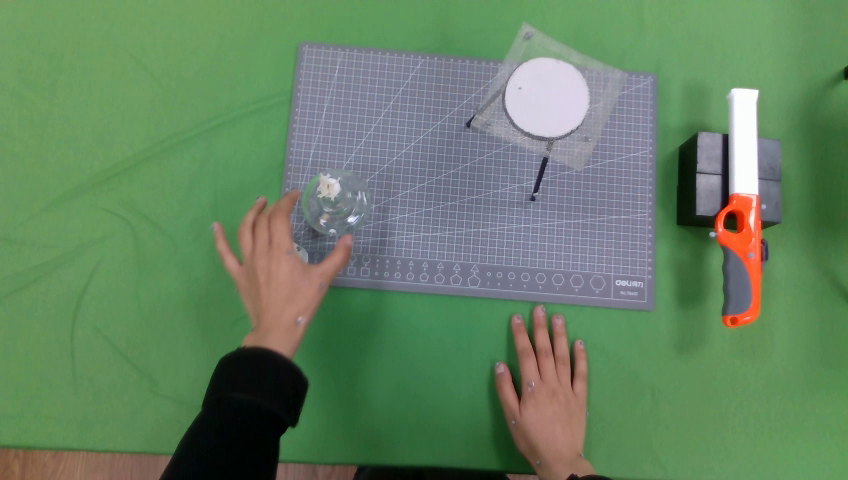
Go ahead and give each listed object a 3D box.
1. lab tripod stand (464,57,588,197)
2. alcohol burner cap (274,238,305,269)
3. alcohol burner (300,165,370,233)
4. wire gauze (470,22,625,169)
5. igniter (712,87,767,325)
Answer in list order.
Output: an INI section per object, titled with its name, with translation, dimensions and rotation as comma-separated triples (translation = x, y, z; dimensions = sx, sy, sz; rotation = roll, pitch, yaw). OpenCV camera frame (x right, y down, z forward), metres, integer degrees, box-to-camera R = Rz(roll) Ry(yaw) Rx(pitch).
[lab tripod stand]
translation = 0.122, -0.137, 0.678
dimensions = 0.148, 0.132, 0.147
rotation = 1, 78, -2
[alcohol burner cap]
translation = -0.154, 0.013, 0.684
dimensions = 0.034, 0.048, 0.033
rotation = 1, 78, -4
[alcohol burner]
translation = -0.099, -0.048, 0.662
dimensions = 0.078, 0.119, 0.077
rotation = 1, 81, -3
[wire gauze]
translation = 0.127, -0.146, 0.611
dimensions = 0.121, 0.011, 0.125
rotation = 27, 79, 2
[igniter]
translation = 0.355, -0.041, 0.682
dimensions = 0.057, 0.025, 0.275
rotation = 5, 79, 4
